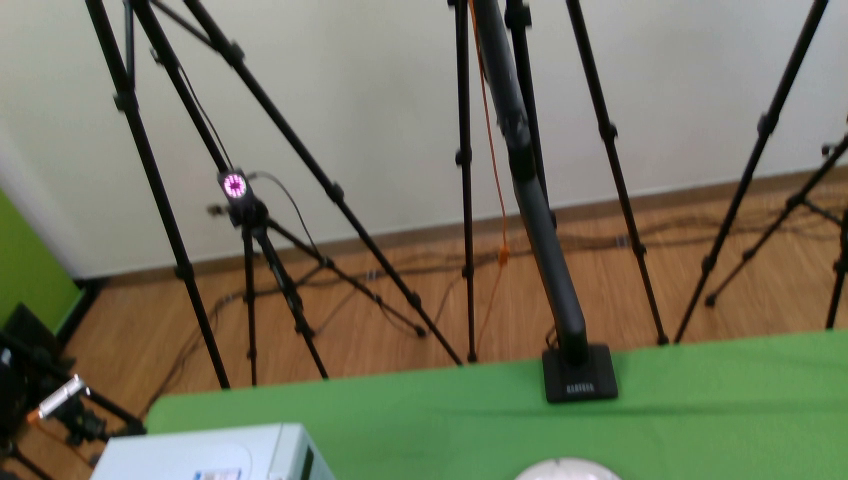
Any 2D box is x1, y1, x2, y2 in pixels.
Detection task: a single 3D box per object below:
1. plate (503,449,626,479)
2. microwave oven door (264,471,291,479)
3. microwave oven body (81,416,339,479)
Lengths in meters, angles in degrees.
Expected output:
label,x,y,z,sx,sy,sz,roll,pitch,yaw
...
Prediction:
label,x,y,z,sx,sy,sz,roll,pitch,yaw
plate,0.201,0.398,0.860,0.209,0.038,0.207,-10,37,8
microwave oven door,-0.170,0.489,0.699,0.039,0.246,0.352,-9,39,11
microwave oven body,-0.308,0.488,0.761,0.325,0.263,0.437,-8,40,10
